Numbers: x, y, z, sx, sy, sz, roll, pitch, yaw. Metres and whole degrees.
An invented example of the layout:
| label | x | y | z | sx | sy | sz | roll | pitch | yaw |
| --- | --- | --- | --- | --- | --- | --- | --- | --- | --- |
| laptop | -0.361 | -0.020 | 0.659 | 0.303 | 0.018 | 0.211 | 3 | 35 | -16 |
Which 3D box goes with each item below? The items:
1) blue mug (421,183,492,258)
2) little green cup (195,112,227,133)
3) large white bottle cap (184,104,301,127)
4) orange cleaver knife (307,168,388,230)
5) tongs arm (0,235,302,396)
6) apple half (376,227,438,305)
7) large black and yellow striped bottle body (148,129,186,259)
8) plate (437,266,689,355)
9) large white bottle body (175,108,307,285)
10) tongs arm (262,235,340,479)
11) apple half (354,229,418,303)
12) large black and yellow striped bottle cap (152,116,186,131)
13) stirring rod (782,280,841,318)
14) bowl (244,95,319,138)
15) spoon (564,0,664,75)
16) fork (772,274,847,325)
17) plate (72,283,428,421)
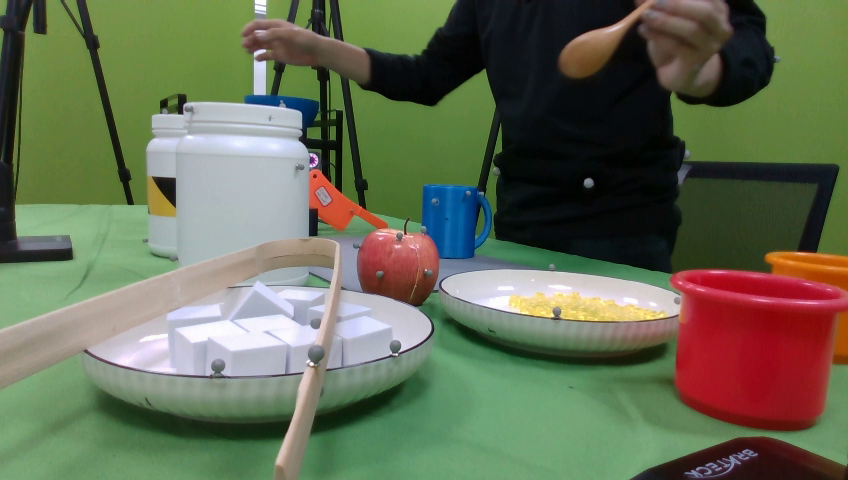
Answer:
| label | x | y | z | sx | sy | sz | roll | pitch | yaw |
| --- | --- | --- | --- | --- | --- | --- | --- | --- | --- |
| blue mug | 0.052 | -0.032 | 0.912 | 0.117 | 0.106 | 0.082 | -1 | 8 | -24 |
| little green cup | -0.412 | -0.227 | 1.171 | 0.061 | 0.038 | 0.061 | 3 | 8 | 0 |
| large white bottle cap | -0.184 | -0.126 | 0.618 | 0.115 | 0.018 | 0.115 | 2 | 8 | 0 |
| orange cleaver knife | -0.159 | -0.060 | 1.166 | 0.212 | 0.077 | 0.012 | 34 | -13 | -32 |
| tongs arm | -0.157 | 0.038 | 0.351 | 0.028 | 0.028 | 0.388 | -3 | 9 | 12 |
| apple half | -0.017 | 0.026 | 0.593 | 0.080 | 0.074 | 0.053 | 4 | 3 | 43 |
| large black and yellow striped bottle body | -0.310 | -0.073 | 0.838 | 0.131 | 0.184 | 0.130 | 2 | 8 | 0 |
| plate | 0.114 | 0.057 | 0.517 | 0.209 | 0.038 | 0.209 | 3 | 7 | 0 |
| large white bottle body | -0.188 | -0.042 | 0.630 | 0.131 | 0.184 | 0.130 | 2 | 8 | 0 |
| tongs arm | -0.074 | 0.039 | 0.349 | 0.051 | 0.026 | 0.384 | -2 | 10 | -3 |
| apple half | -0.044 | 0.027 | 0.564 | 0.081 | 0.081 | 0.033 | 9 | 5 | 42 |
| large black and yellow striped bottle cap | -0.309 | -0.155 | 0.826 | 0.115 | 0.019 | 0.115 | 3 | 6 | 0 |
| stirring rod | 0.344 | 0.019 | 0.460 | 0.014 | 0.006 | 0.176 | -14 | -27 | -30 |
| bowl | -0.293 | -0.251 | 1.249 | 0.151 | 0.077 | 0.151 | 2 | 8 | 0 |
| spoon | 0.217 | -0.227 | 0.595 | 0.194 | 0.042 | 0.021 | -39 | 28 | -7 |
| fork | 0.332 | 0.018 | 0.442 | 0.028 | 0.018 | 0.207 | -1 | -36 | -15 |
| plate | -0.102 | 0.066 | 0.381 | 0.208 | 0.039 | 0.207 | 2 | 7 | 0 |
